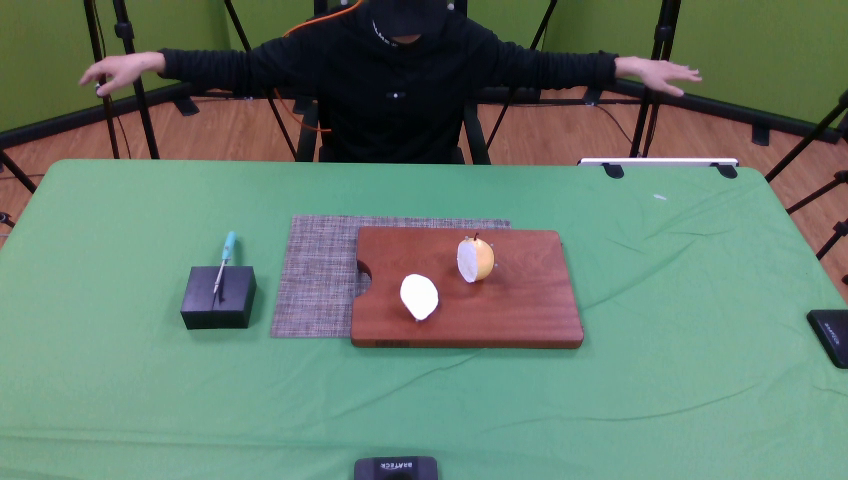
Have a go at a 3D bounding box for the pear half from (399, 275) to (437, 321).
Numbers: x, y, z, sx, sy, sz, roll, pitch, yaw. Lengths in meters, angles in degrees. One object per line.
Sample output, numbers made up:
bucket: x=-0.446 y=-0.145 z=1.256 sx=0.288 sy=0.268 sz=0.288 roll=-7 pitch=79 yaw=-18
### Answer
pear half: x=-0.013 y=0.104 z=1.051 sx=0.070 sy=0.031 sz=0.087 roll=12 pitch=58 yaw=-15

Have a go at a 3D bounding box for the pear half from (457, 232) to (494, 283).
pear half: x=0.098 y=0.023 z=1.087 sx=0.056 sy=0.110 sz=0.076 roll=-22 pitch=55 yaw=-24

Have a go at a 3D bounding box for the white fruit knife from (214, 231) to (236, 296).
white fruit knife: x=-0.359 y=0.038 z=1.091 sx=0.016 sy=0.027 sz=0.206 roll=5 pitch=29 yaw=-12
